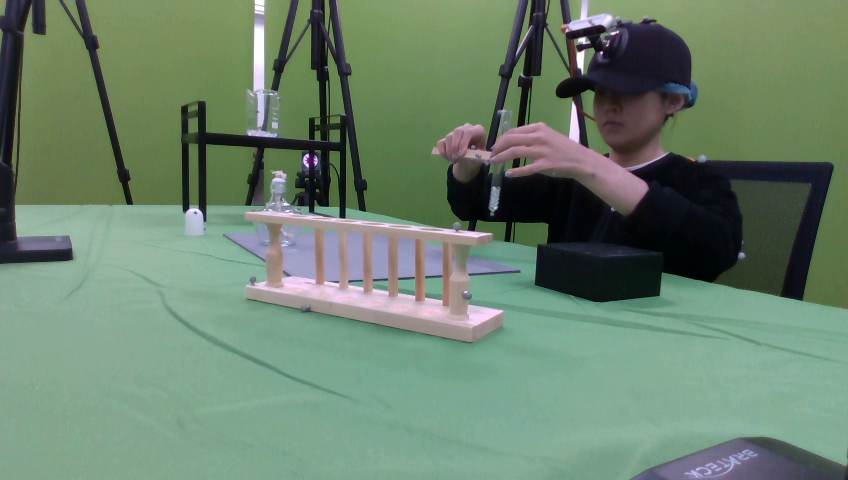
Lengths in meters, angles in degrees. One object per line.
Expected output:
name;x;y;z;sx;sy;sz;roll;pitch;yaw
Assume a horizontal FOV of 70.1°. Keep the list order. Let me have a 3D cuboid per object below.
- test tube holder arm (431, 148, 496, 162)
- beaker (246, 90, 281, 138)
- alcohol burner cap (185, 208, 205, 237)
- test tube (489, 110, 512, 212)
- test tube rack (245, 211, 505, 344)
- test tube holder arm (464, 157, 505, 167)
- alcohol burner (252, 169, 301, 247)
test tube holder arm;0.060;-0.138;0.975;0.013;0.015;0.177;21;-1;-32
beaker;-0.354;-0.275;1.322;0.074;0.100;0.084;4;8;12
alcohol burner cap;-0.391;-0.031;1.032;0.034;0.048;0.034;3;8;0
test tube;0.113;-0.115;0.890;0.017;0.150;0.017;6;12;-1
test tube rack;-0.049;0.025;0.547;0.241;0.085;0.067;7;8;29
test tube holder arm;0.089;-0.128;0.944;0.087;0.015;0.010;20;0;42
alcohol burner;-0.227;-0.050;0.936;0.078;0.119;0.078;1;7;0
